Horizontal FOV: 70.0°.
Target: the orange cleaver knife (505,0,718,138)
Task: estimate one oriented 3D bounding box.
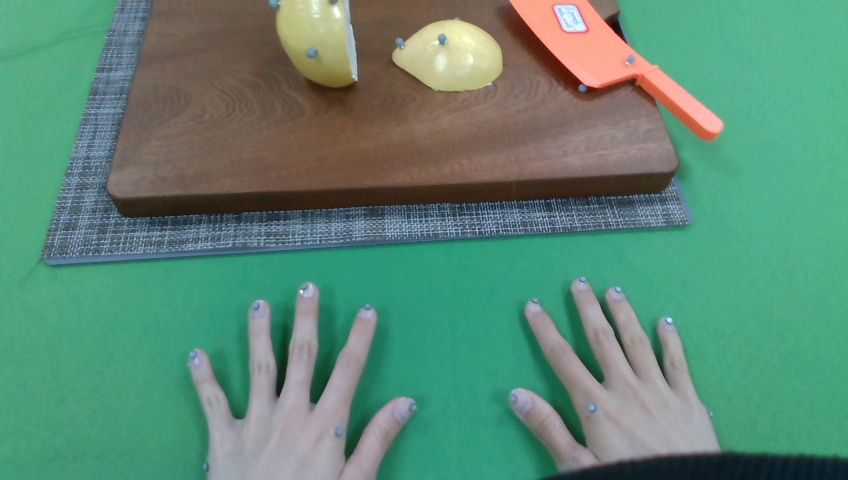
[{"bbox_3d":[0.141,-0.149,0.484,0.077,0.012,0.209,-27,66,-23],"label":"orange cleaver knife"}]

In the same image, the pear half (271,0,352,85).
[{"bbox_3d":[-0.082,-0.165,0.428,0.056,0.111,0.075,-9,54,-8],"label":"pear half"}]

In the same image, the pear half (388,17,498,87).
[{"bbox_3d":[0.016,-0.154,0.475,0.088,0.031,0.070,4,51,-4],"label":"pear half"}]
